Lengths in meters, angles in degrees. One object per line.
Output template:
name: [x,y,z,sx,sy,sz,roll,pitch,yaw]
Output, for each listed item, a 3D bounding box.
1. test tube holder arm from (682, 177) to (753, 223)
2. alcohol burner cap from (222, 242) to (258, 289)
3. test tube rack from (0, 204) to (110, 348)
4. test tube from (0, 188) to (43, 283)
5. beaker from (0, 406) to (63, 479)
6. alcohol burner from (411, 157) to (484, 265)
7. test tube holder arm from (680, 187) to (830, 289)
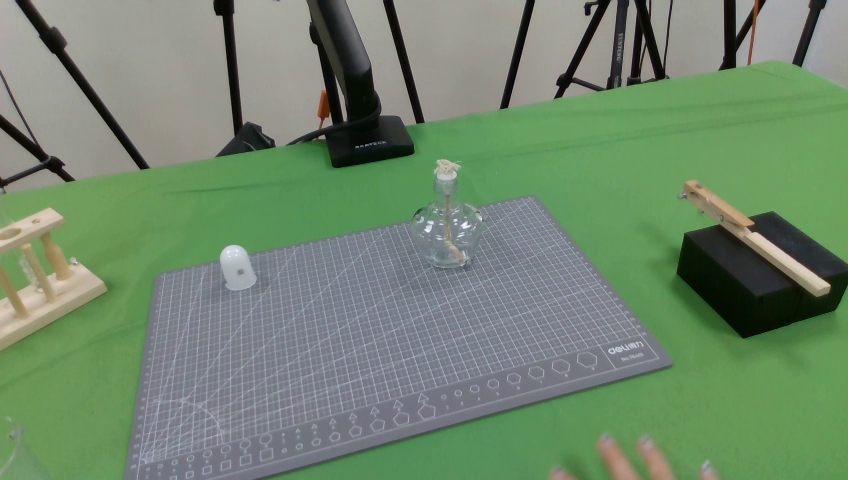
test tube holder arm: [0.287,-0.037,0.597,0.015,0.010,0.087,-12,37,-12]
alcohol burner cap: [-0.197,0.024,0.638,0.034,0.048,0.033,-4,36,3]
test tube rack: [-0.447,0.064,0.582,0.066,0.086,0.242,25,45,34]
test tube: [-0.416,-0.019,0.607,0.017,0.151,0.017,-6,32,4]
beaker: [-0.285,0.172,0.401,0.084,0.101,0.073,-8,36,-2]
alcohol burner: [0.024,-0.033,0.629,0.078,0.120,0.077,-2,36,2]
test tube holder arm: [0.301,-0.009,0.565,0.015,0.013,0.176,-13,35,-12]
